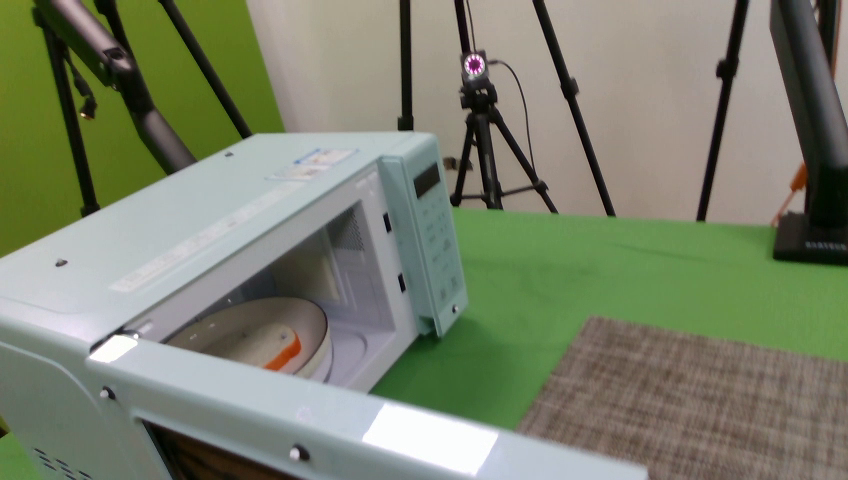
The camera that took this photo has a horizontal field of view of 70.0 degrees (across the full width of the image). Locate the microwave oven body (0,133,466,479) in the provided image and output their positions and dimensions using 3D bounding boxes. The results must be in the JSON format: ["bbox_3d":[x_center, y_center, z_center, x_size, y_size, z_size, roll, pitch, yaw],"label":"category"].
[{"bbox_3d":[-0.203,0.073,0.688,0.324,0.262,0.441,6,32,32],"label":"microwave oven body"}]

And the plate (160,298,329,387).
[{"bbox_3d":[-0.206,0.136,0.680,0.209,0.038,0.207,-10,25,5],"label":"plate"}]

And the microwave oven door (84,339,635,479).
[{"bbox_3d":[-0.047,0.188,0.367,0.353,0.246,0.039,5,31,31],"label":"microwave oven door"}]

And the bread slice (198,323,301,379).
[{"bbox_3d":[-0.207,0.139,0.684,0.104,0.019,0.131,13,38,40],"label":"bread slice"}]

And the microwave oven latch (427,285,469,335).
[{"bbox_3d":[0.030,0.088,0.781,0.030,0.030,0.079,7,32,33],"label":"microwave oven latch"}]
